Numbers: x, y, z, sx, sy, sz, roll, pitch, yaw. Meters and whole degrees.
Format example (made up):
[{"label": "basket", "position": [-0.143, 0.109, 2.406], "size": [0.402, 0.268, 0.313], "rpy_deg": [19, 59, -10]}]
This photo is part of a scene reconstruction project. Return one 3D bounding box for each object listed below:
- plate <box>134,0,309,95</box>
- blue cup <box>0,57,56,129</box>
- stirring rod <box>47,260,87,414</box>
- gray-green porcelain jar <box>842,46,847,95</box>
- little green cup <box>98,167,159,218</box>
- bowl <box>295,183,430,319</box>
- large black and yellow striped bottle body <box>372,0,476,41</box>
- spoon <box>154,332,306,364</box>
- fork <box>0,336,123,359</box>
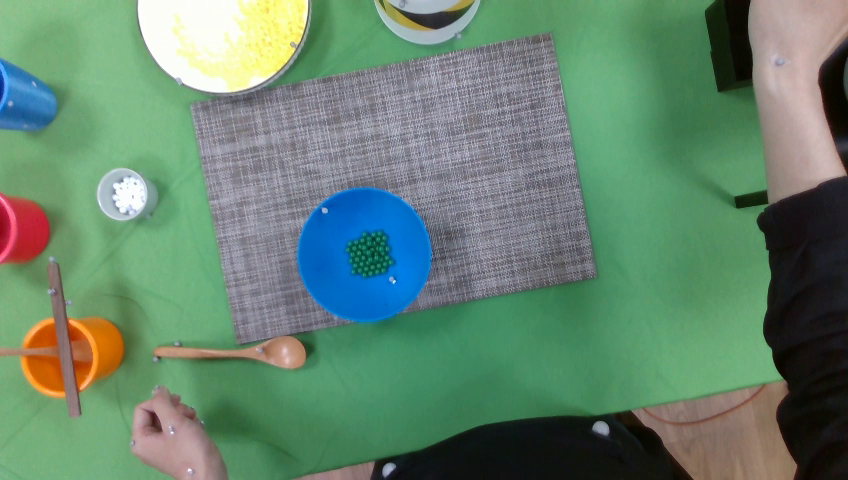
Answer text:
[{"label": "plate", "position": [-0.240, -0.277, 0.731], "size": [0.209, 0.038, 0.209], "rpy_deg": [0, 91, 2]}, {"label": "blue cup", "position": [-0.491, -0.169, 0.708], "size": [0.092, 0.100, 0.092], "rpy_deg": [0, 91, 3]}, {"label": "stirring rod", "position": [-0.403, 0.109, 0.683], "size": [0.014, 0.006, 0.176], "rpy_deg": [-10, 91, 3]}, {"label": "gray-green porcelain jar", "position": [0.421, -0.153, 0.489], "size": [0.106, 0.126, 0.106], "rpy_deg": [0, 90, 3]}, {"label": "little green cup", "position": [-0.357, -0.056, 0.737], "size": [0.061, 0.038, 0.061], "rpy_deg": [0, 91, 3]}, {"label": "bowl", "position": [-0.066, 0.012, 0.706], "size": [0.151, 0.077, 0.151], "rpy_deg": [0, 91, 2]}, {"label": "large black and yellow striped bottle body", "position": [-0.003, -0.306, 0.650], "size": [0.131, 0.184, 0.130], "rpy_deg": [0, 90, 2]}, {"label": "spoon", "position": [-0.239, 0.133, 0.744], "size": [0.194, 0.021, 0.042], "rpy_deg": [0, 104, 1]}, {"label": "fork", "position": [-0.455, 0.123, 0.688], "size": [0.209, 0.018, 0.028], "rpy_deg": [8, 93, -41]}]
